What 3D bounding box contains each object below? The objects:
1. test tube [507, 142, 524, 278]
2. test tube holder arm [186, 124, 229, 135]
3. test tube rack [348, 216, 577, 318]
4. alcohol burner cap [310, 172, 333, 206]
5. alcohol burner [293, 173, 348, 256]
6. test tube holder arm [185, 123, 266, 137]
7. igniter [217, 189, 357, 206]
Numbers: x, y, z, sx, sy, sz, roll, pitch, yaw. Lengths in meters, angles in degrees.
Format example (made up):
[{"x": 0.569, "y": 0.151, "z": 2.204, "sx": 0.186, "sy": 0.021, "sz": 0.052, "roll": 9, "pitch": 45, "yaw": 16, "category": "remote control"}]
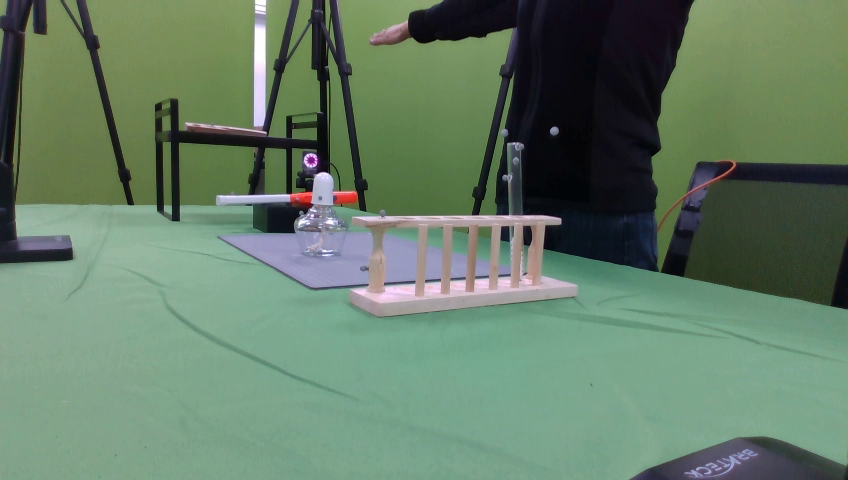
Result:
[{"x": 0.101, "y": -0.032, "z": 0.666, "sx": 0.017, "sy": 0.150, "sz": 0.017, "roll": -2, "pitch": 6, "yaw": 1, "category": "test tube"}, {"x": -0.465, "y": -0.236, "z": 1.300, "sx": 0.088, "sy": 0.015, "sz": 0.010, "roll": -2, "pitch": 47, "yaw": -41, "category": "test tube holder arm"}, {"x": 0.048, "y": 0.021, "z": 0.619, "sx": 0.244, "sy": 0.085, "sz": 0.066, "roll": -2, "pitch": 9, "yaw": -31, "category": "test tube rack"}, {"x": -0.144, "y": -0.072, "z": 0.854, "sx": 0.034, "sy": 0.048, "sz": 0.034, "roll": 4, "pitch": 9, "yaw": 0, "category": "alcohol burner cap"}, {"x": -0.147, "y": -0.036, "z": 0.859, "sx": 0.078, "sy": 0.119, "sz": 0.078, "roll": 4, "pitch": 8, "yaw": 0, "category": "alcohol burner"}, {"x": -0.433, "y": -0.242, "z": 1.333, "sx": 0.179, "sy": 0.015, "sz": 0.013, "roll": -3, "pitch": 48, "yaw": -42, "category": "test tube holder arm"}, {"x": -0.252, "y": -0.081, "z": 1.155, "sx": 0.278, "sy": 0.025, "sz": 0.057, "roll": -5, "pitch": 8, "yaw": -33, "category": "igniter"}]
